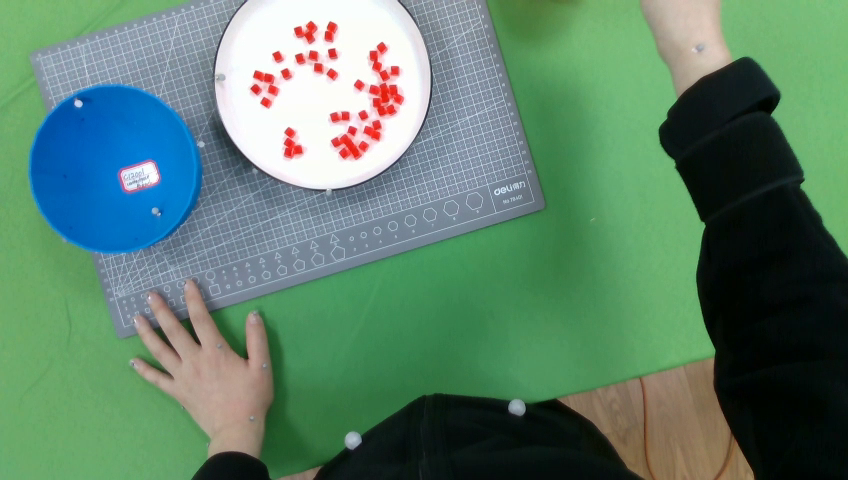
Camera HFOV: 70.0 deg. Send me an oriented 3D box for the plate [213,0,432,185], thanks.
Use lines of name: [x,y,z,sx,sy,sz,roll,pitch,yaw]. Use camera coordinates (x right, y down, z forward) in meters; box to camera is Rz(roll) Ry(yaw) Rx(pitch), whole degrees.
plate: [-0.095,-0.157,0.586,0.209,0.038,0.209,0,92,1]

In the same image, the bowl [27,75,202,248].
bowl: [-0.274,-0.069,0.569,0.151,0.077,0.151,0,92,0]
